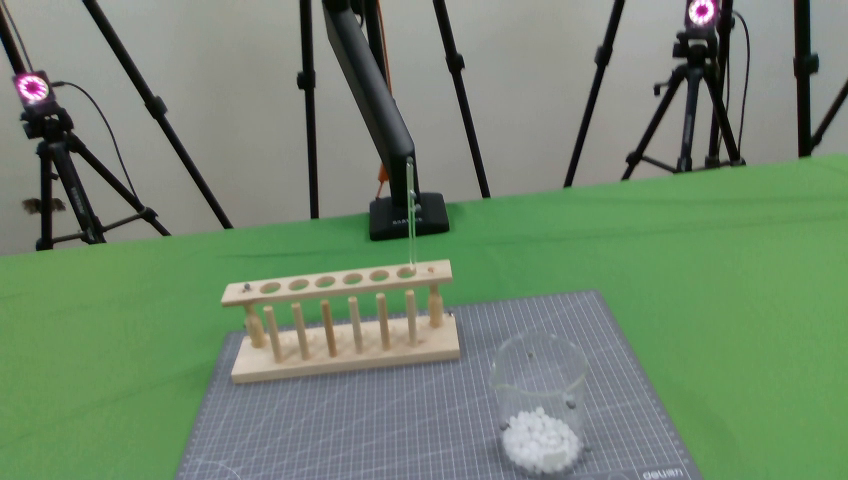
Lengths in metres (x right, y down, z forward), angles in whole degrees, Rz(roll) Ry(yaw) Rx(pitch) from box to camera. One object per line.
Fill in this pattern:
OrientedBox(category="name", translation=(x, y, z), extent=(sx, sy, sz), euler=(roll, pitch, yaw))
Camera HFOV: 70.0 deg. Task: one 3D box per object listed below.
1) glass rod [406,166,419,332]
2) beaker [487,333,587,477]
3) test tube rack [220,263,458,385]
OrientedBox(category="glass rod", translation=(-0.011, 0.016, 0.631), extent=(0.008, 0.201, 0.008), euler=(-1, 30, 1))
OrientedBox(category="beaker", translation=(0.094, 0.142, 0.509), extent=(0.084, 0.101, 0.073), euler=(-16, 30, -16))
OrientedBox(category="test tube rack", translation=(-0.089, 0.090, 0.652), extent=(0.242, 0.086, 0.066), euler=(-6, 30, 0))
